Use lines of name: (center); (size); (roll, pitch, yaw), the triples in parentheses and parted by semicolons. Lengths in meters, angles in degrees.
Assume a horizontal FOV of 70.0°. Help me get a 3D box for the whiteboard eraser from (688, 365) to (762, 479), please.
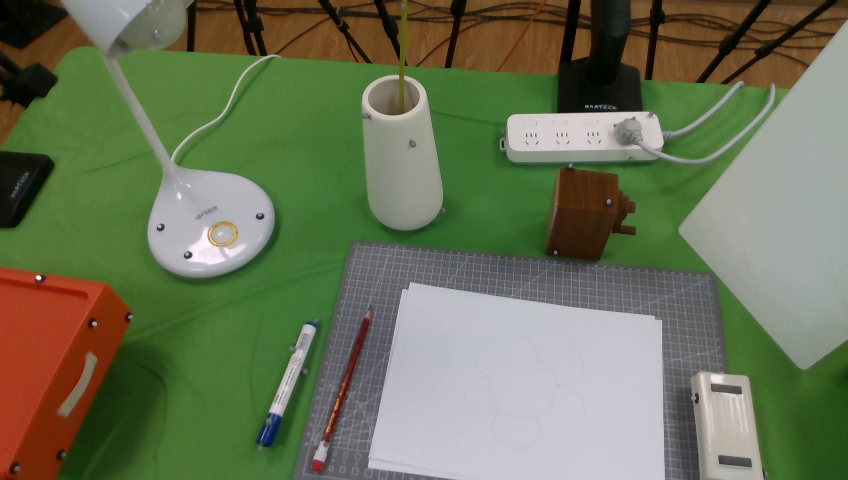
whiteboard eraser: (0.302, 0.186, 0.614); (0.055, 0.042, 0.112); (6, 57, 5)

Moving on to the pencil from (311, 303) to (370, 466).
pencil: (-0.088, 0.153, 0.672); (0.012, 0.012, 0.192); (11, 57, 10)

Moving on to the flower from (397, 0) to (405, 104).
flower: (-0.025, -0.162, 0.665); (0.038, 0.365, 0.043); (-4, 39, -8)

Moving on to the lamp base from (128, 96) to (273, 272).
lamp base: (-0.290, -0.076, 0.728); (0.178, 0.182, 0.160); (35, 64, 25)

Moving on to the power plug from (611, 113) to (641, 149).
power plug: (0.266, -0.137, 0.806); (0.035, 0.053, 0.072); (9, 59, 9)

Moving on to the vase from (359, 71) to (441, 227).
vase: (-0.031, -0.103, 0.725); (0.098, 0.202, 0.097); (-2, 56, 3)

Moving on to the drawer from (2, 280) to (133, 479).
drawer: (-0.441, 0.123, 0.611); (0.211, 0.074, 0.193); (8, 59, 7)

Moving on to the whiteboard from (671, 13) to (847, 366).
whiteboard: (0.461, -0.049, 0.643); (0.144, 0.307, 0.215); (-12, 55, -28)

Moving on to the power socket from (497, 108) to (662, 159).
power socket: (0.217, -0.148, 0.843); (0.227, 0.033, 0.071); (0, 58, 2)

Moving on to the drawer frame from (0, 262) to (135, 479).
drawer frame: (-0.447, 0.125, 0.613); (0.213, 0.083, 0.200); (8, 58, 5)

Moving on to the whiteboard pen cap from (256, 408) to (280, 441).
whiteboard pen cap: (-0.163, 0.193, 0.638); (0.018, 0.018, 0.033); (9, 52, 9)

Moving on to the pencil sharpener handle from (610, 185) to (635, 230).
pencil sharpener handle: (0.238, -0.035, 0.710); (0.030, 0.068, 0.035); (7, 56, 7)

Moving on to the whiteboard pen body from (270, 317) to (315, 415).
whiteboard pen body: (-0.149, 0.147, 0.672); (0.017, 0.017, 0.139); (9, 54, 9)

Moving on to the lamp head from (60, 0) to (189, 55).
lamp head: (-0.254, -0.226, 0.478); (0.123, 0.112, 0.112); (46, 63, -15)

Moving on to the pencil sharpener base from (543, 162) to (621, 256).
pencil sharpener base: (0.188, -0.034, 0.726); (0.076, 0.108, 0.061); (7, 57, 7)
